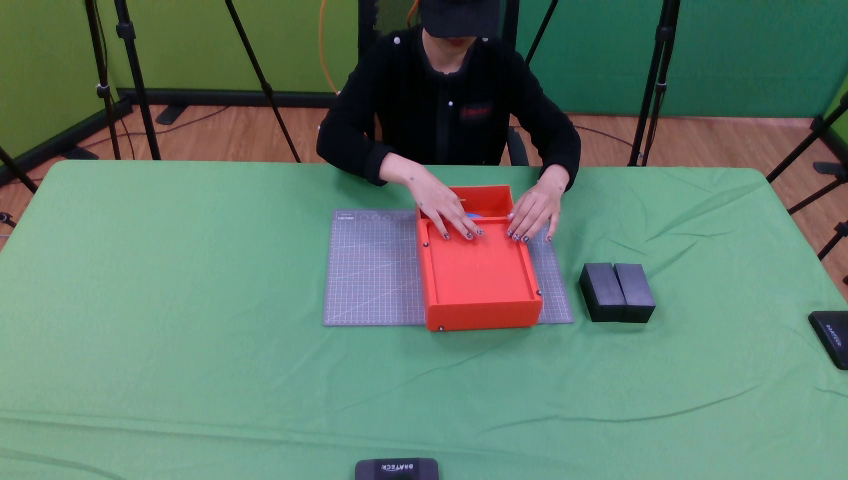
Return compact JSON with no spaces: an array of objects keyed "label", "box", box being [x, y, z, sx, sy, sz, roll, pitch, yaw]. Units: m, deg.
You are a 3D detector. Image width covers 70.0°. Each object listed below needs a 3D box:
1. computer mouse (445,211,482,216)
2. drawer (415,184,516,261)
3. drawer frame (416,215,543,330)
[{"label":"computer mouse","box":[0.093,-0.025,1.203,0.117,0.041,0.062,6,42,-7]},{"label":"drawer","box":[0.086,-0.015,1.175,0.195,0.073,0.210,-1,46,-6]},{"label":"drawer frame","box":[0.094,0.054,1.108,0.202,0.083,0.212,-2,47,-7]}]
